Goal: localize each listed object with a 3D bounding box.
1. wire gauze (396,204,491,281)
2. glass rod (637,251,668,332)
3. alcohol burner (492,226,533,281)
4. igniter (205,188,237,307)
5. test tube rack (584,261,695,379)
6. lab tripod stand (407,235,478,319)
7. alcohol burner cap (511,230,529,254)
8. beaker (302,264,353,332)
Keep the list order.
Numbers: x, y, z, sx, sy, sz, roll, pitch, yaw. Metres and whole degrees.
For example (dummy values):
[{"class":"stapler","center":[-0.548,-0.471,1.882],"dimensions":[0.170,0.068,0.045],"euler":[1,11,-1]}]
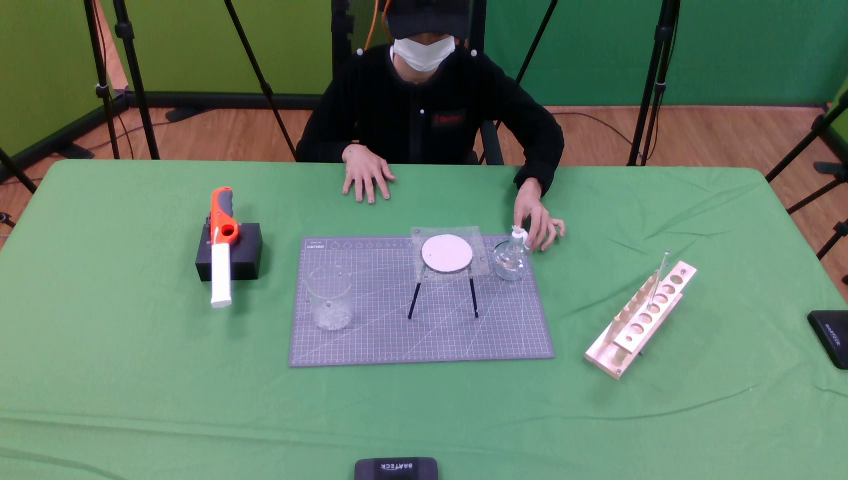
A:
[{"class":"wire gauze","center":[0.032,0.004,0.999],"dimensions":[0.125,0.011,0.120],"euler":[-22,54,-14]},{"class":"glass rod","center":[0.378,0.090,1.005],"dimensions":[0.008,0.201,0.008],"euler":[-1,44,1]},{"class":"alcohol burner","center":[0.166,0.020,1.125],"dimensions":[0.078,0.120,0.077],"euler":[1,46,-1]},{"class":"igniter","center":[-0.367,0.004,1.097],"dimensions":[0.057,0.025,0.274],"euler":[-7,50,-11]},{"class":"test tube rack","center":[0.380,0.127,1.062],"dimensions":[0.066,0.085,0.242],"euler":[34,53,26]},{"class":"lab tripod stand","center":[0.032,0.065,1.057],"dimensions":[0.148,0.132,0.147],"euler":[1,45,-1]},{"class":"alcohol burner cap","center":[0.192,0.002,1.194],"dimensions":[0.034,0.048,0.033],"euler":[0,46,0]},{"class":"beaker","center":[-0.162,0.101,1.030],"dimensions":[0.084,0.101,0.073],"euler":[4,46,0]}]
